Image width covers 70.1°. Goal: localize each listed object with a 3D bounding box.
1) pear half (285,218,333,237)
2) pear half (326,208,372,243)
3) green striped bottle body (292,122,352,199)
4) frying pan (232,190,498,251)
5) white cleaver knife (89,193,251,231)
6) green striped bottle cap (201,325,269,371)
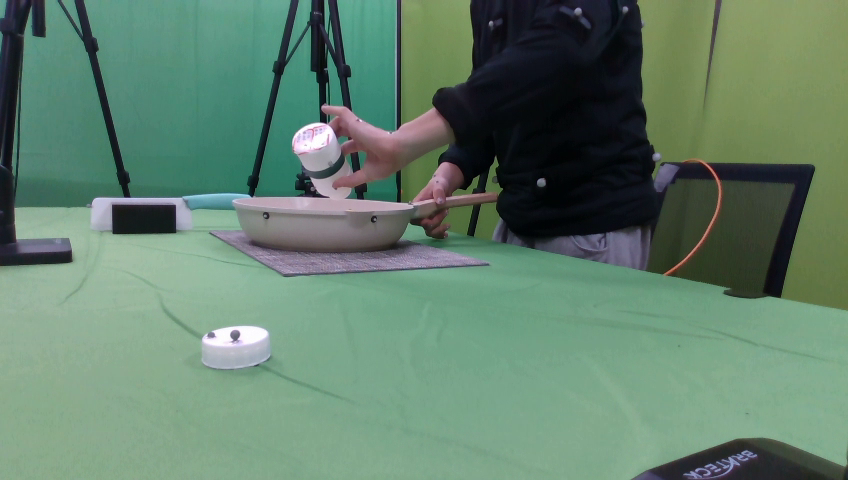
[{"bbox_3d":[-0.197,-0.022,1.053,0.088,0.031,0.070,-9,18,-44],"label":"pear half"},{"bbox_3d":[-0.128,-0.026,1.017,0.076,0.056,0.109,5,3,-18],"label":"pear half"},{"bbox_3d":[-0.148,-0.114,0.910,0.063,0.063,0.119,5,-34,19],"label":"green striped bottle body"},{"bbox_3d":[-0.073,-0.051,1.048,0.490,0.102,0.305,-11,13,-27],"label":"frying pan"},{"bbox_3d":[-0.454,-0.052,1.114,0.288,0.066,0.021,-4,14,-27],"label":"white cleaver knife"},{"bbox_3d":[-0.129,0.073,0.415,0.044,0.020,0.044,2,8,0],"label":"green striped bottle cap"}]
